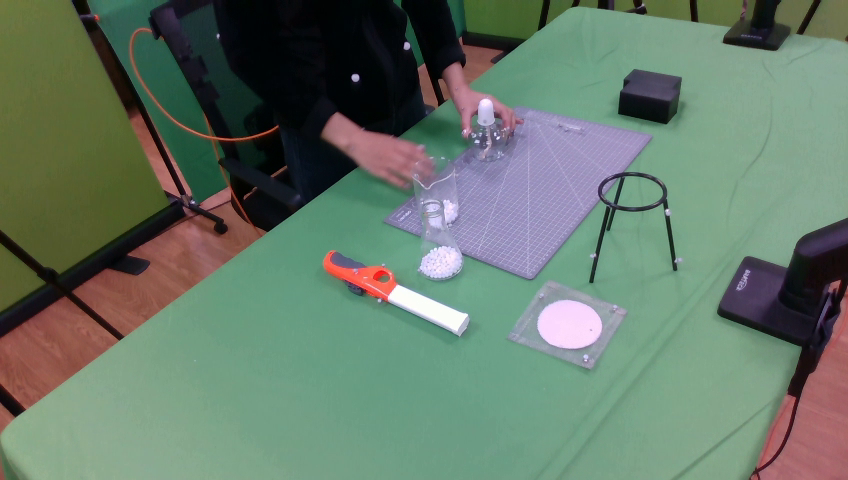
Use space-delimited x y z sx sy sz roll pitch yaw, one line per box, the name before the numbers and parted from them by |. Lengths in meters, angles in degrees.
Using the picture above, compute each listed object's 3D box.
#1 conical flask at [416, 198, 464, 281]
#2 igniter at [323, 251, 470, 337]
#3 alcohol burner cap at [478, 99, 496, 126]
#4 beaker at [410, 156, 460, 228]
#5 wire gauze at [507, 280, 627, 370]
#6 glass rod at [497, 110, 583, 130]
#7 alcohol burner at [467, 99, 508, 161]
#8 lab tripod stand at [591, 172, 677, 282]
conical flask | 0.019 -0.004 0.907 0.075 0.122 0.075 -5 40 5
igniter | -0.052 0.075 0.901 0.274 0.025 0.057 22 60 32
alcohol burner cap | 0.114 -0.236 1.110 0.034 0.048 0.033 -4 48 5
beaker | 0.020 -0.076 1.006 0.074 0.101 0.084 3 42 16
wire gauze | 0.196 0.114 0.823 0.120 0.011 0.125 20 50 31
glass rod | 0.233 -0.245 1.235 0.198 0.008 0.008 21 49 34
alcohol burner | 0.119 -0.210 1.134 0.078 0.119 0.077 -4 39 4
lab tripod stand | 0.292 -0.022 0.867 0.148 0.132 0.147 -7 39 6
